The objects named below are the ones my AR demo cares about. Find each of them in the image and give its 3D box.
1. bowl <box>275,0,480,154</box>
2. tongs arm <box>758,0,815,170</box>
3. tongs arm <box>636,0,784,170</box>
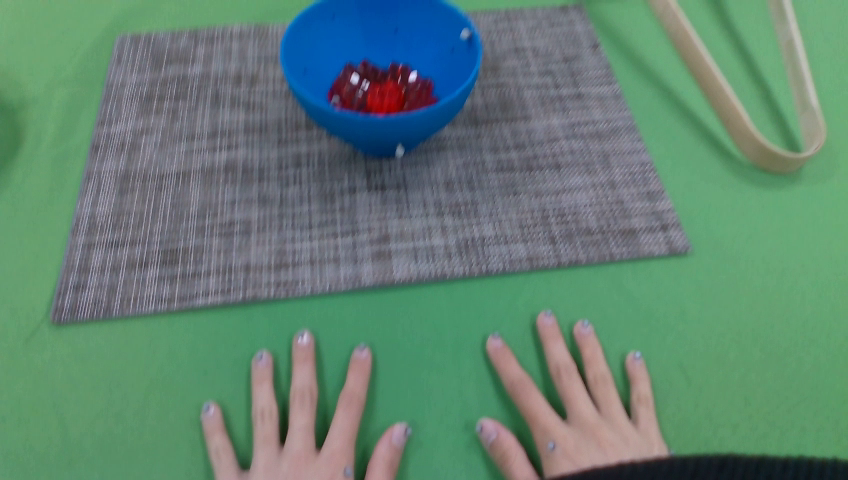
[{"bbox_3d":[-0.035,-0.122,0.481,0.151,0.077,0.150,1,55,-1],"label":"bowl"},{"bbox_3d":[0.300,-0.238,0.564,0.051,0.027,0.381,0,67,-5],"label":"tongs arm"},{"bbox_3d":[0.211,-0.228,0.555,0.028,0.028,0.384,-14,68,-14],"label":"tongs arm"}]
